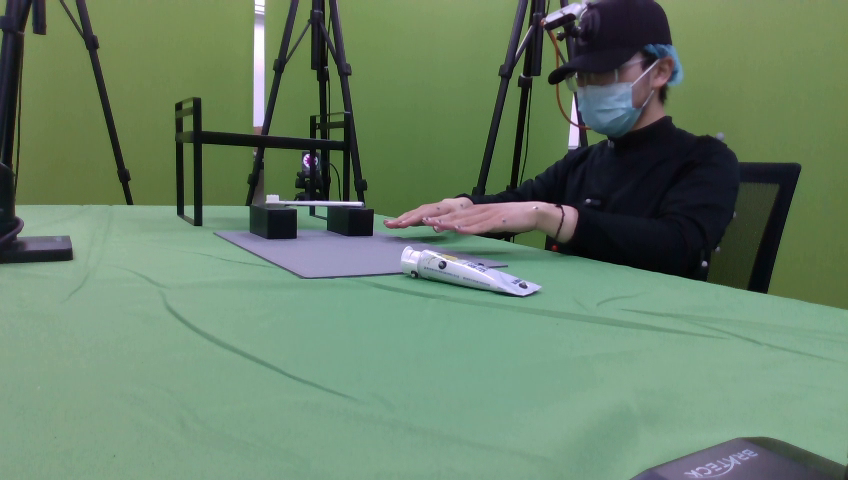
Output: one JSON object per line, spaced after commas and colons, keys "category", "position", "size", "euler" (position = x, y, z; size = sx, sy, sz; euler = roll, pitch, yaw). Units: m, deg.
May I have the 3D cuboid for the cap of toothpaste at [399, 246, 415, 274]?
{"category": "cap of toothpaste", "position": [-0.018, 0.025, 0.741], "size": [0.011, 0.037, 0.037], "euler": [5, 8, 24]}

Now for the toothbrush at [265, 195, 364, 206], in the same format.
{"category": "toothbrush", "position": [-0.194, -0.069, 1.090], "size": [0.183, 0.016, 0.014], "euler": [0, -7, -27]}

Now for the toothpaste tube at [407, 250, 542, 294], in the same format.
{"category": "toothpaste tube", "position": [0.049, 0.039, 0.699], "size": [0.164, 0.034, 0.055], "euler": [11, 17, 30]}
